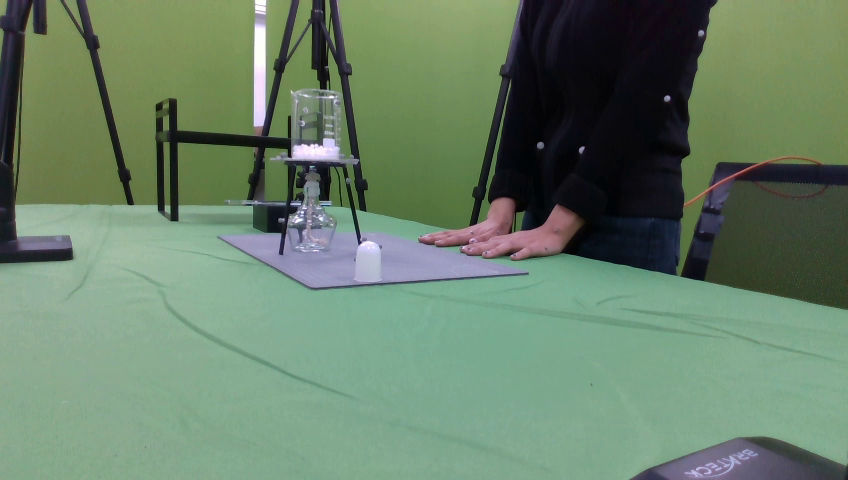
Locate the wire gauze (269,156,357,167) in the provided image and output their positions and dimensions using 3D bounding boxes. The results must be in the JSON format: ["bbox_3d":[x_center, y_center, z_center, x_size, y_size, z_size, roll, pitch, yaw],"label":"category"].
[{"bbox_3d":[-0.159,-0.116,0.886,0.122,0.011,0.125,2,4,-9],"label":"wire gauze"}]

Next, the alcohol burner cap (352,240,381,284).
[{"bbox_3d":[-0.065,0.024,0.690,0.034,0.048,0.034,3,9,0],"label":"alcohol burner cap"}]

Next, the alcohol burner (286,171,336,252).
[{"bbox_3d":[-0.170,-0.043,0.898,0.078,0.119,0.078,2,5,0],"label":"alcohol burner"}]

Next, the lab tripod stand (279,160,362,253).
[{"bbox_3d":[-0.166,-0.052,0.897,0.148,0.131,0.148,0,7,0],"label":"lab tripod stand"}]

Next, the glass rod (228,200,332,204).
[{"bbox_3d":[-0.269,-0.071,1.149,0.201,0.008,0.008,-1,8,-30],"label":"glass rod"}]

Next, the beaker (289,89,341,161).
[{"bbox_3d":[-0.161,-0.164,0.879,0.073,0.100,0.084,6,8,34],"label":"beaker"}]
